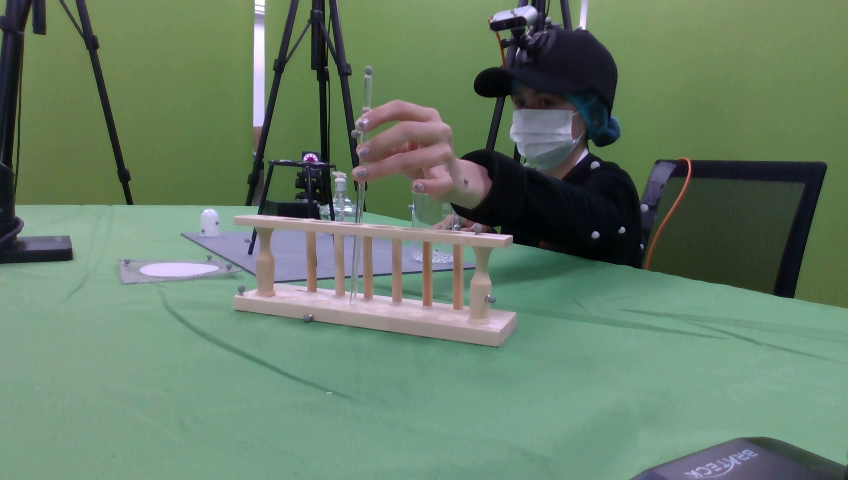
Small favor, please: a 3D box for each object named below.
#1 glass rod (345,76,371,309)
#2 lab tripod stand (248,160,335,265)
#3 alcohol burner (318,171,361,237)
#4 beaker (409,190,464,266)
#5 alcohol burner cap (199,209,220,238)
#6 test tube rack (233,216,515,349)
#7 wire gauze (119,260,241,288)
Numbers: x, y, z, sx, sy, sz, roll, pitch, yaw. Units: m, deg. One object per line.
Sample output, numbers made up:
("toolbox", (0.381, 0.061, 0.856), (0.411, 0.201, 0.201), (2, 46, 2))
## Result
("glass rod", (-0.056, -0.037, 0.510), (0.008, 0.199, 0.008), (5, 7, 0))
("lab tripod stand", (-0.165, -0.040, 0.817), (0.148, 0.131, 0.148), (5, 7, 0))
("alcohol burner", (-0.155, -0.066, 1.104), (0.078, 0.119, 0.078), (1, 8, 0))
("beaker", (0.018, -0.017, 0.840), (0.074, 0.100, 0.083), (-3, 10, -35))
("alcohol burner cap", (-0.356, -0.027, 1.002), (0.034, 0.048, 0.034), (2, 7, 0))
("test tube rack", (-0.045, 0.029, 0.525), (0.241, 0.085, 0.067), (5, 8, 19))
("wire gauze", (-0.288, 0.034, 0.706), (0.122, 0.011, 0.124), (-3, 10, -29))
